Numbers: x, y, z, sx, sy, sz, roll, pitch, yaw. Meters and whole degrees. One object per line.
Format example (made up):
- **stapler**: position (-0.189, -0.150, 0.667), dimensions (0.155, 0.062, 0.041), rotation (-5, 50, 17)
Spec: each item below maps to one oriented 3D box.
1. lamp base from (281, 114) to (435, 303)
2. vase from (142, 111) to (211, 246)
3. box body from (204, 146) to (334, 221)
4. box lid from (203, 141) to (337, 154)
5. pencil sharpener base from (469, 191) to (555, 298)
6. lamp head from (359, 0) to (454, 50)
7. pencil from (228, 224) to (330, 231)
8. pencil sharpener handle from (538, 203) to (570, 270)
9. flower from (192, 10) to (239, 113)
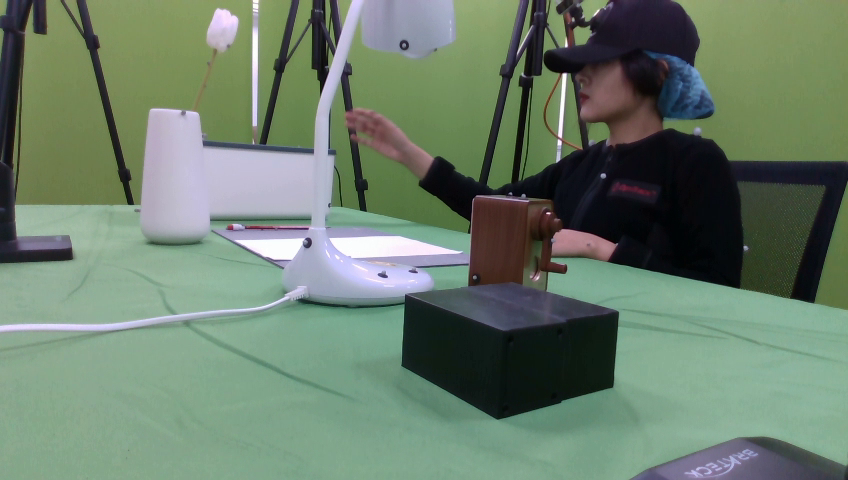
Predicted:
- **lamp base**: position (-0.071, -0.035, 0.614), dimensions (0.160, 0.180, 0.180), rotation (6, 10, 27)
- **vase**: position (-0.378, -0.093, 0.920), dimensions (0.098, 0.200, 0.098), rotation (2, 9, 0)
- **box body**: position (-0.413, -0.134, 1.380), dimensions (0.366, 0.160, 0.253), rotation (-2, 9, -31)
- **box lid**: position (-0.407, -0.209, 1.370), dimensions (0.373, 0.015, 0.262), rotation (-1, 8, -31)
- **pencil sharpener base**: position (0.097, 0.003, 0.652), dimensions (0.076, 0.107, 0.061), rotation (8, 9, 38)
- **lamp head**: position (-0.024, -0.283, 0.674), dimensions (0.112, 0.123, 0.112), rotation (-3, 38, 3)
- **pencil**: position (-0.265, -0.023, 1.124), dimensions (0.195, 0.012, 0.012), rotation (-1, 8, -32)
- **pencil sharpener handle**: position (0.137, -0.003, 0.619), dimensions (0.030, 0.067, 0.036), rotation (8, 5, 38)
- **flower**: position (-0.354, -0.174, 0.915), dimensions (0.038, 0.361, 0.044), rotation (18, -4, 12)
